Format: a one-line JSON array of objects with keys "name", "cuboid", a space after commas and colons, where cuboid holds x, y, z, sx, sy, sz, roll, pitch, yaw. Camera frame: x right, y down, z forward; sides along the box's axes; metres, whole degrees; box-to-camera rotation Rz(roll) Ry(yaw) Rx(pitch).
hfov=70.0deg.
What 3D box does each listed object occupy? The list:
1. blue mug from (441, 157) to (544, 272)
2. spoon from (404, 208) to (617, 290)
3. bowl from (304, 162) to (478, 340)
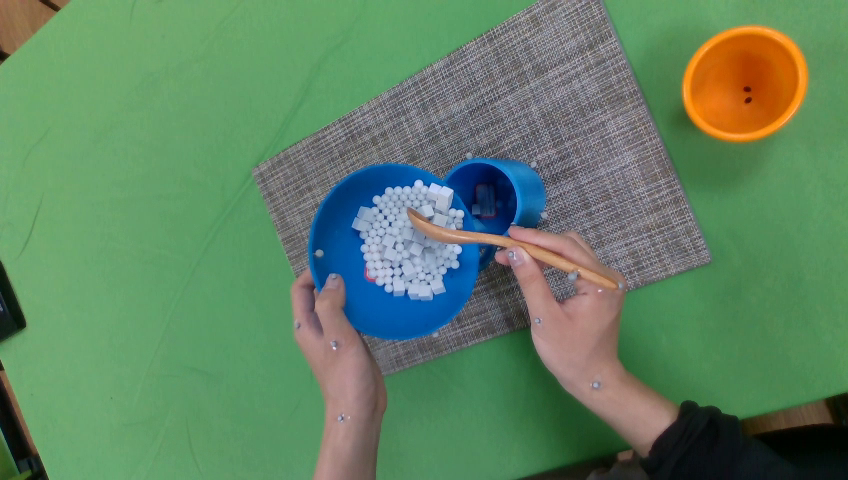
[{"name": "blue mug", "cuboid": [0.063, -0.024, 0.598, 0.082, 0.106, 0.117, 17, 103, 20]}, {"name": "spoon", "cuboid": [0.057, 0.004, 0.467, 0.192, 0.042, 0.021, 15, 80, 37]}, {"name": "bowl", "cuboid": [-0.036, 0.013, 0.537, 0.076, 0.152, 0.151, -20, 89, 68]}]
